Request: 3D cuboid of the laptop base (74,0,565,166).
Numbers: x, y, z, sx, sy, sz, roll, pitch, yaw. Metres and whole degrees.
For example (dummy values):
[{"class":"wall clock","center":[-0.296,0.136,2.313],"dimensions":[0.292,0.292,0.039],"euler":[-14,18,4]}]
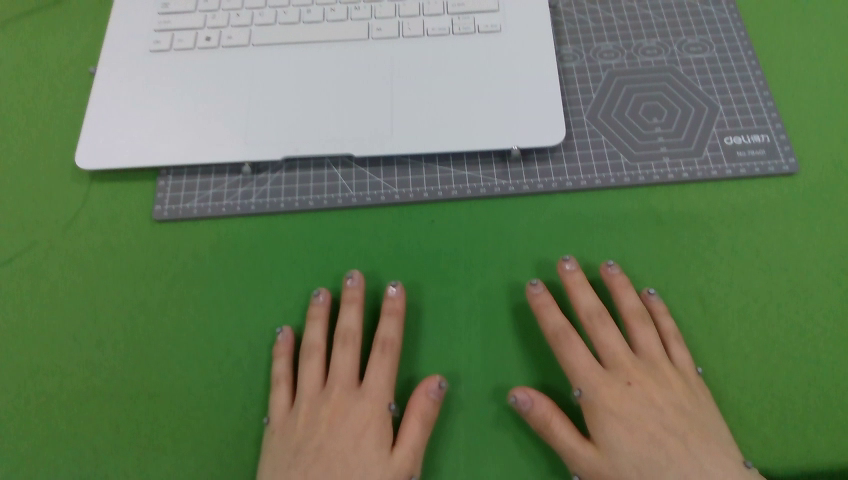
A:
[{"class":"laptop base","center":[-0.079,-0.165,0.479],"dimensions":[0.354,0.023,0.233],"euler":[-3,68,1]}]
